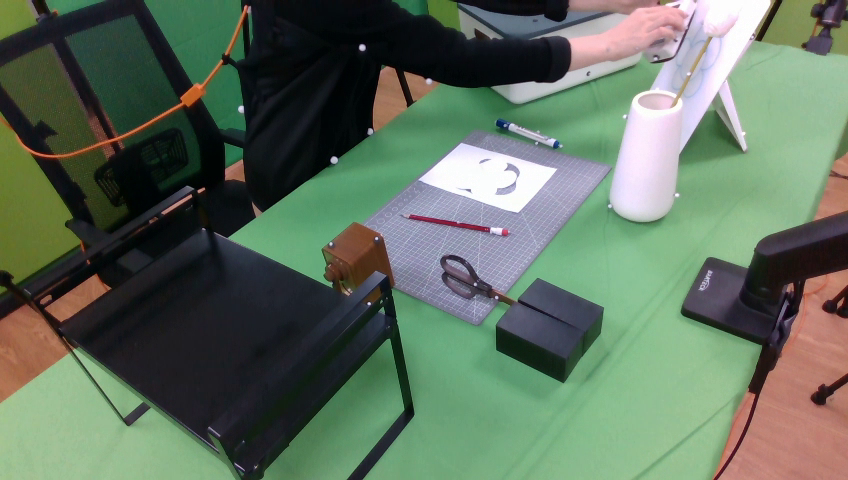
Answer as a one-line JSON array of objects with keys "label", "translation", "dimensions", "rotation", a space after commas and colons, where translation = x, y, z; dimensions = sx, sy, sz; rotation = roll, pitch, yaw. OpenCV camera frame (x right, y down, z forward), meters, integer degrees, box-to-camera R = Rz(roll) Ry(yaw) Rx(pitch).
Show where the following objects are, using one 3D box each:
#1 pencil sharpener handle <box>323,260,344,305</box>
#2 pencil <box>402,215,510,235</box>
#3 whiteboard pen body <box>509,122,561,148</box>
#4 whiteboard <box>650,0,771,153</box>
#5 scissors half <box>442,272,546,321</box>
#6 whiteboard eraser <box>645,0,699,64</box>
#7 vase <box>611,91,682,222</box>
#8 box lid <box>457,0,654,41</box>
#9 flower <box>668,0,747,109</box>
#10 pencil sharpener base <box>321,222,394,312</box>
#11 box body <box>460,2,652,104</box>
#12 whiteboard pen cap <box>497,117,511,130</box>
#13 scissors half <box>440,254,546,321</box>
[{"label": "pencil sharpener handle", "translation": [-0.131, 0.062, 0.839], "dimensions": [0.035, 0.068, 0.031], "rotation": [29, 55, 28]}, {"label": "pencil", "translation": [0.049, -0.027, 1.008], "dimensions": [0.193, 0.012, 0.012], "rotation": [9, 43, 23]}, {"label": "whiteboard pen body", "translation": [0.208, -0.212, 1.195], "dimensions": [0.139, 0.017, 0.017], "rotation": [30, 53, 32]}, {"label": "whiteboard", "translation": [0.543, -0.298, 1.076], "dimensions": [0.144, 0.305, 0.216], "rotation": [12, 40, -7]}, {"label": "scissors half", "translation": [0.094, 0.081, 0.838], "dimensions": [0.173, 0.040, 0.013], "rotation": [19, 45, 39]}, {"label": "whiteboard eraser", "translation": [0.425, -0.355, 1.031], "dimensions": [0.055, 0.042, 0.112], "rotation": [4, 66, 64]}, {"label": "vase", "translation": [0.348, -0.125, 0.936], "dimensions": [0.098, 0.201, 0.097], "rotation": [-3, 40, 3]}, {"label": "box lid", "translation": [0.285, -0.522, 1.323], "dimensions": [0.373, 0.015, 0.261], "rotation": [-22, 43, -16]}, {"label": "flower", "translation": [0.355, -0.187, 0.879], "dimensions": [0.038, 0.362, 0.044], "rotation": [31, 48, 14]}, {"label": "pencil sharpener base", "translation": [-0.096, 0.041, 0.873], "dimensions": [0.061, 0.107, 0.077], "rotation": [25, 54, 32]}, {"label": "box body", "translation": [0.291, -0.465, 1.371], "dimensions": [0.365, 0.161, 0.252], "rotation": [-22, 42, -16]}, {"label": "whiteboard pen cap", "translation": [0.165, -0.235, 1.227], "dimensions": [0.033, 0.018, 0.018], "rotation": [31, 53, 30]}, {"label": "scissors half", "translation": [0.092, 0.065, 0.825], "dimensions": [0.174, 0.040, 0.013], "rotation": [31, 57, 25]}]
